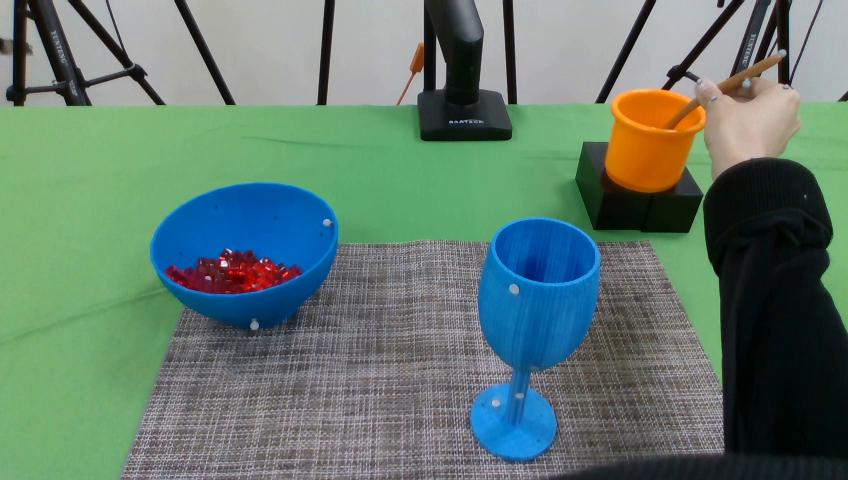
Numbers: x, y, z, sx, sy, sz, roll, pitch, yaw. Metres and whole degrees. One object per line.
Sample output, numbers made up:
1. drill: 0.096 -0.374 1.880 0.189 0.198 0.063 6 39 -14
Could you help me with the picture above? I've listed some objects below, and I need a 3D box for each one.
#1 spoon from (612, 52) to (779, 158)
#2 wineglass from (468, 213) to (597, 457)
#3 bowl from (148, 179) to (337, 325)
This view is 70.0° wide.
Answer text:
1. spoon: 0.243 -0.120 0.565 0.041 0.194 0.021 -26 81 -26
2. wineglass: 0.066 0.069 0.402 0.074 0.174 0.073 1 40 0
3. bowl: -0.149 0.021 0.525 0.151 0.077 0.150 1 40 -1
